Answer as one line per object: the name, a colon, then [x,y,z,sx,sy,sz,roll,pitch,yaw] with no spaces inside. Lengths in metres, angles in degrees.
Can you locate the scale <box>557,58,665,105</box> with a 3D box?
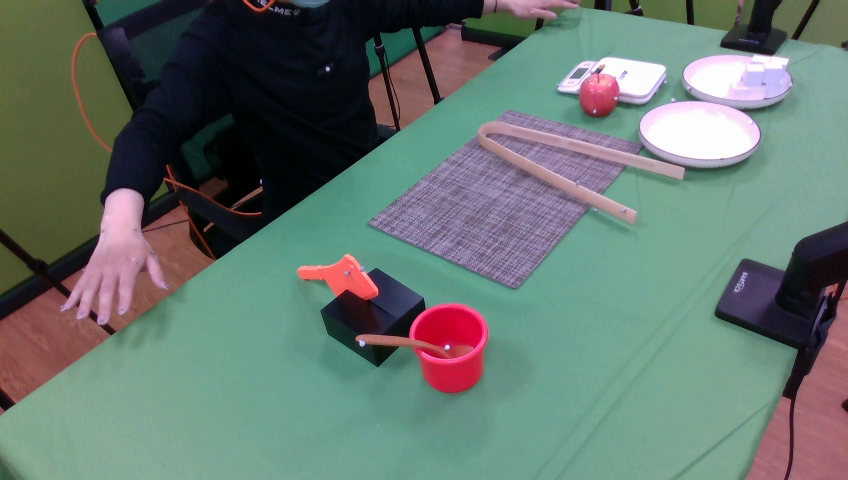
scale: [0.407,-0.348,1.314,0.199,0.032,0.149,19,47,28]

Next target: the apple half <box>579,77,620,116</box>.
apple half: [0.348,-0.285,1.218,0.080,0.075,0.053,17,49,22]

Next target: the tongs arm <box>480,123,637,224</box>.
tongs arm: [0.228,-0.128,1.080,0.051,0.026,0.381,-33,46,-26]

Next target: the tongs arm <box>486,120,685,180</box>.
tongs arm: [0.287,-0.171,1.123,0.384,0.028,0.028,21,52,29]

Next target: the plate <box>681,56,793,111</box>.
plate: [0.636,-0.317,1.239,0.207,0.039,0.206,-4,40,4]

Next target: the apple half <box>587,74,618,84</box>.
apple half: [0.366,-0.310,1.243,0.081,0.081,0.033,15,49,24]

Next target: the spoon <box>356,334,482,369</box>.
spoon: [-0.001,0.130,0.731,0.195,0.021,0.041,21,27,-39]

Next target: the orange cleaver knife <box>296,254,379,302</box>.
orange cleaver knife: [-0.129,0.058,0.874,0.012,0.077,0.210,-39,17,-30]

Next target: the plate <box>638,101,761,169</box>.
plate: [0.500,-0.189,1.111,0.209,0.038,0.208,-4,41,4]
